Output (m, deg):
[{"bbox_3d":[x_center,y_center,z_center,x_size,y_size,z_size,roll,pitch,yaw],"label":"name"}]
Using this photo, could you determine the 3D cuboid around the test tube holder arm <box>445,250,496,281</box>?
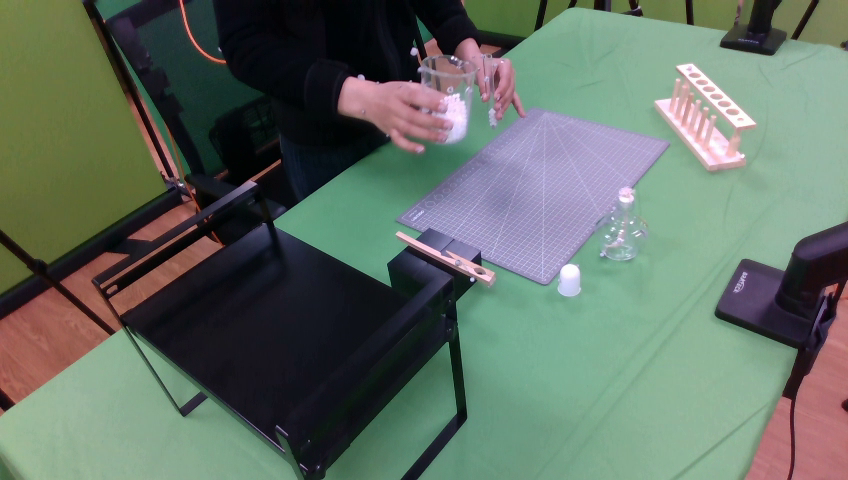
[{"bbox_3d":[0.063,0.036,0.851,0.087,0.015,0.010,24,57,32],"label":"test tube holder arm"}]

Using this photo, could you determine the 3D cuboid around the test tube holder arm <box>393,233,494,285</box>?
[{"bbox_3d":[0.024,0.025,0.871,0.177,0.015,0.013,22,57,31],"label":"test tube holder arm"}]

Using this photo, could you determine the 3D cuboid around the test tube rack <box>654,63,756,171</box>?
[{"bbox_3d":[0.510,-0.233,1.120,0.067,0.085,0.241,-8,41,-1],"label":"test tube rack"}]

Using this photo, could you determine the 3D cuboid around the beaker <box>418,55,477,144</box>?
[{"bbox_3d":[0.030,-0.190,0.822,0.073,0.100,0.084,19,38,17],"label":"beaker"}]

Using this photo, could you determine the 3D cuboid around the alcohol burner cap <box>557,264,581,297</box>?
[{"bbox_3d":[0.208,0.055,0.866,0.034,0.048,0.033,-4,41,4],"label":"alcohol burner cap"}]

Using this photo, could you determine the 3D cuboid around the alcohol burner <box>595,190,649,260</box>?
[{"bbox_3d":[0.294,-0.028,0.894,0.078,0.119,0.077,-4,43,5],"label":"alcohol burner"}]

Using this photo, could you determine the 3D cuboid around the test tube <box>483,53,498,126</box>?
[{"bbox_3d":[0.113,-0.251,1.023,0.017,0.151,0.017,-5,53,8],"label":"test tube"}]
